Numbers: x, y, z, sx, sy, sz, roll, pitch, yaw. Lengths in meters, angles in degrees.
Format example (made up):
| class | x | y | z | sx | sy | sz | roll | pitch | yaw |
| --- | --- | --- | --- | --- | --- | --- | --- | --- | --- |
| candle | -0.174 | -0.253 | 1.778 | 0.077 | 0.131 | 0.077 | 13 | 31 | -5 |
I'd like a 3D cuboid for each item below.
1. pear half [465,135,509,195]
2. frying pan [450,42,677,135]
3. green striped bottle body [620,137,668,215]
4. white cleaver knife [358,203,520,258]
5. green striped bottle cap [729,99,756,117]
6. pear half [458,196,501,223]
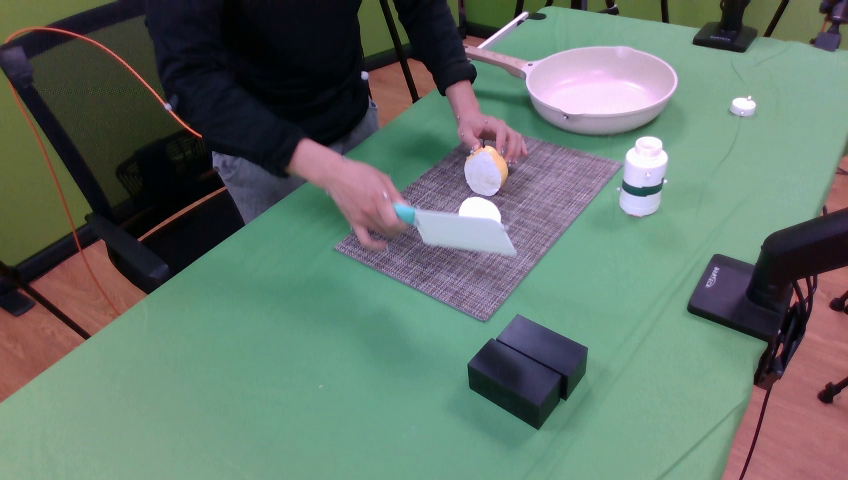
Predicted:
| class | x | y | z | sx | sy | sz | roll | pitch | yaw |
| --- | --- | --- | --- | --- | --- | --- | --- | --- | --- |
| pear half | 0.111 | -0.137 | 1.039 | 0.076 | 0.110 | 0.056 | 15 | 45 | 19 |
| frying pan | 0.268 | -0.344 | 1.266 | 0.485 | 0.103 | 0.307 | 26 | 49 | 21 |
| green striped bottle body | 0.350 | -0.103 | 0.963 | 0.063 | 0.120 | 0.063 | -4 | 41 | 4 |
| white cleaver knife | 0.006 | -0.012 | 0.804 | 0.284 | 0.066 | 0.021 | 11 | 46 | 47 |
| green striped bottle cap | 0.623 | -0.259 | 1.182 | 0.044 | 0.020 | 0.044 | -3 | 40 | 3 |
| pear half | 0.087 | -0.030 | 0.975 | 0.070 | 0.031 | 0.088 | 15 | 55 | 0 |
